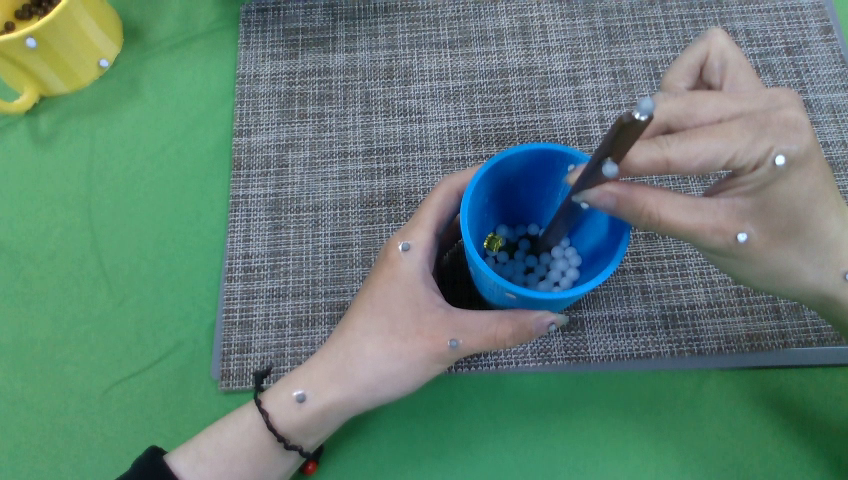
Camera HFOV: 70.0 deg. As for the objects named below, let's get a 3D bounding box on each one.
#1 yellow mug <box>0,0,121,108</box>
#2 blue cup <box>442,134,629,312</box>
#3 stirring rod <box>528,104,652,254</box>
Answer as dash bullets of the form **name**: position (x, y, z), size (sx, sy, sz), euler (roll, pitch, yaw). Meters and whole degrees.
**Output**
- **yellow mug**: position (-0.291, -0.157, 0.439), size (0.100, 0.064, 0.130), euler (8, 71, 5)
- **blue cup**: position (0.061, 0.001, 0.347), size (0.092, 0.101, 0.092), euler (0, 71, 2)
- **stirring rod**: position (0.075, -0.021, 0.303), size (0.014, 0.177, 0.006), euler (-18, 74, -7)
